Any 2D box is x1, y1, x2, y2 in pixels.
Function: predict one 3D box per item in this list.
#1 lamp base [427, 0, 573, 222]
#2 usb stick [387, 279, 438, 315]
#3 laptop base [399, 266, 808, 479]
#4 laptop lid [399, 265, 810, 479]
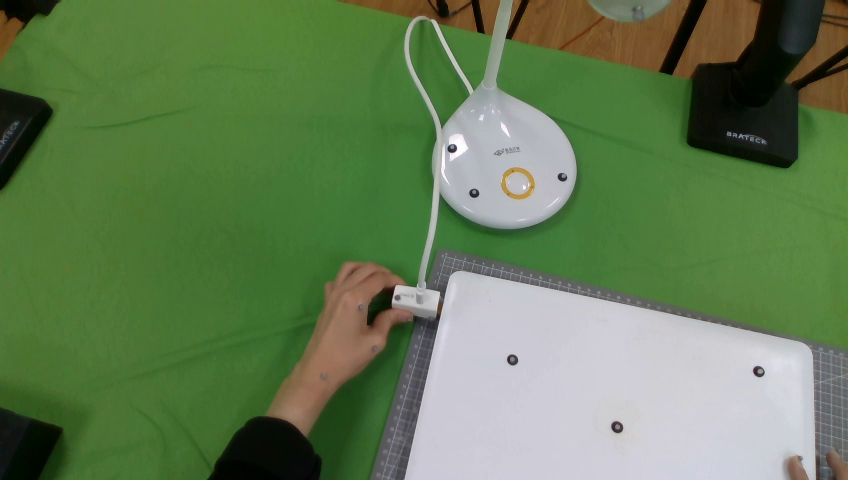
[{"bbox_3d":[0.079,-0.134,0.601,0.161,0.181,0.177,-22,65,-11],"label":"lamp base"},{"bbox_3d":[-0.005,0.056,0.586,0.059,0.027,0.021,11,58,0],"label":"usb stick"},{"bbox_3d":[0.169,0.165,0.556,0.354,0.023,0.234,12,69,3],"label":"laptop base"},{"bbox_3d":[0.169,0.162,0.545,0.356,0.013,0.240,13,69,4],"label":"laptop lid"}]
